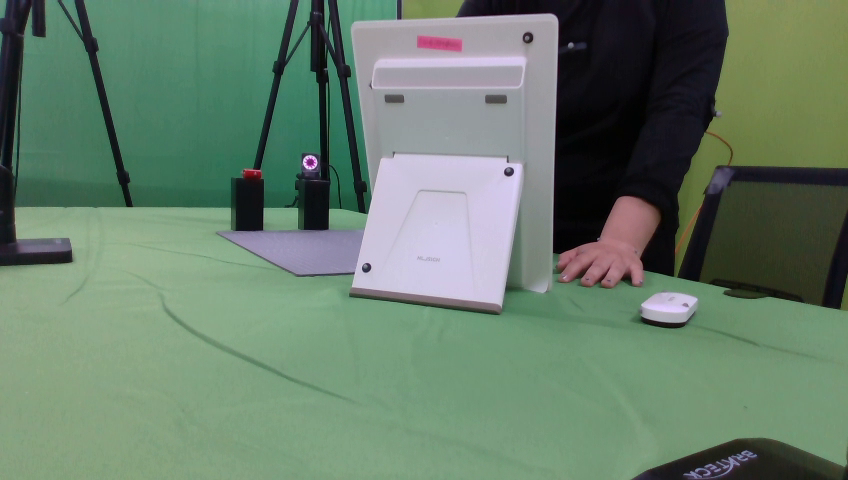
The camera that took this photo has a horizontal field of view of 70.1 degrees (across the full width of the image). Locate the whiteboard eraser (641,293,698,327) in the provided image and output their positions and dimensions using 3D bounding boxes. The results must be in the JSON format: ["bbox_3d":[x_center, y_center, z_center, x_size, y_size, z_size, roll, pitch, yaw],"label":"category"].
[{"bbox_3d":[0.240,0.066,0.590,0.041,0.019,0.102,5,7,32],"label":"whiteboard eraser"}]

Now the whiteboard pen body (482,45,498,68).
[{"bbox_3d":[0.073,-0.205,0.675,0.017,0.017,0.140,3,22,4],"label":"whiteboard pen body"}]

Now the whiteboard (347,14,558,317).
[{"bbox_3d":[0.012,-0.056,0.608,0.216,0.305,0.144,6,28,20],"label":"whiteboard"}]

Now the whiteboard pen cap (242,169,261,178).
[{"bbox_3d":[-0.326,-0.125,1.144,0.032,0.017,0.017,0,7,-37],"label":"whiteboard pen cap"}]
